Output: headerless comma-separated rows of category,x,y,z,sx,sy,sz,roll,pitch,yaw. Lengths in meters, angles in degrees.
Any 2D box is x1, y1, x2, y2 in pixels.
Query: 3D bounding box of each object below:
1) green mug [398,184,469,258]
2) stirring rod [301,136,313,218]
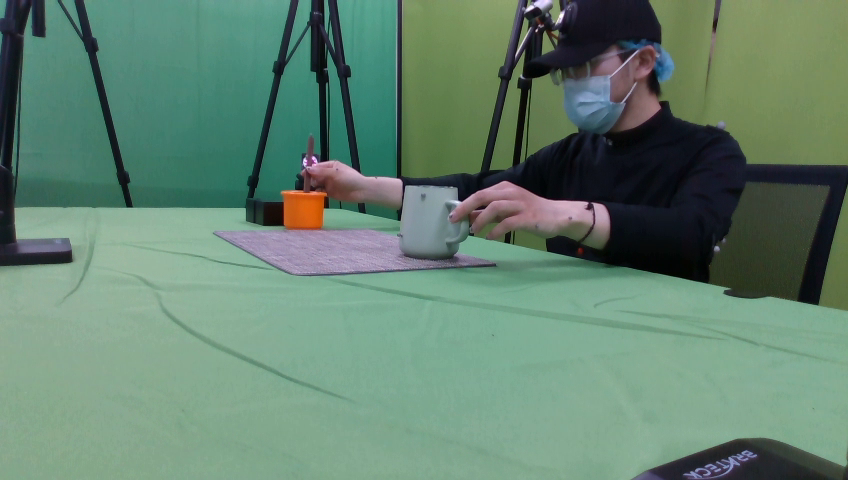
green mug,0.020,-0.028,0.890,0.093,0.105,0.124,-4,9,-41
stirring rod,-0.240,-0.130,1.238,0.006,0.176,0.014,-9,-16,41
